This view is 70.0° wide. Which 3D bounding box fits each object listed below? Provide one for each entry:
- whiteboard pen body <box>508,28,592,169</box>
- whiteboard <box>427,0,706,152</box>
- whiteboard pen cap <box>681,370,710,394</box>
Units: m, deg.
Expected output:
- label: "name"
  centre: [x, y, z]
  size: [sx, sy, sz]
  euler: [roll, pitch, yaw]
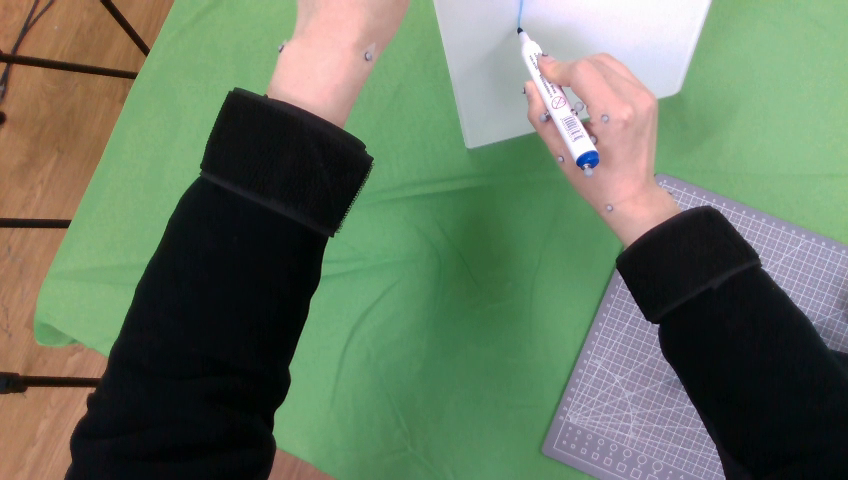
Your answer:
- label: "whiteboard pen body"
  centre: [0.085, -0.106, 0.430]
  size: [0.017, 0.017, 0.139]
  euler: [-21, 60, 4]
- label: "whiteboard"
  centre: [0.104, -0.232, 0.492]
  size: [0.217, 0.308, 0.142]
  euler: [-13, 68, 5]
- label: "whiteboard pen cap"
  centre: [0.257, 0.133, 0.576]
  size: [0.018, 0.033, 0.018]
  euler: [0, 91, 4]
